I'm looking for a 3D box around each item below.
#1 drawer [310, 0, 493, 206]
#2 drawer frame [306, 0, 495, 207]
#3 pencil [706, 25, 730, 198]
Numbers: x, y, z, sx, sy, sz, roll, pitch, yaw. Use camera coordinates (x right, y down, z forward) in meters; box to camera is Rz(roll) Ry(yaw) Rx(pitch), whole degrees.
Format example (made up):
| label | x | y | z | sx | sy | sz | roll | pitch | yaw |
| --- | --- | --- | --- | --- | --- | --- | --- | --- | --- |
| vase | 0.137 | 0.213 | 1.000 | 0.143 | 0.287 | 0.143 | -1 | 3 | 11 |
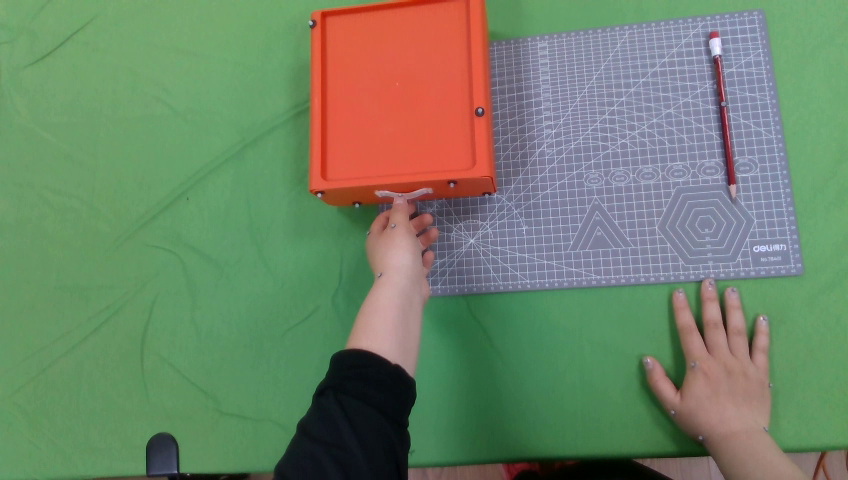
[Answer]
| label | x | y | z | sx | sy | sz | roll | pitch | yaw |
| --- | --- | --- | --- | --- | --- | --- | --- | --- | --- |
| drawer | -0.026 | -0.150 | 0.685 | 0.194 | 0.073 | 0.210 | -4 | 78 | 10 |
| drawer frame | -0.028 | -0.152 | 0.683 | 0.201 | 0.083 | 0.212 | -5 | 79 | 10 |
| pencil | 0.321 | -0.141 | 0.659 | 0.012 | 0.012 | 0.193 | -3 | 83 | 9 |
